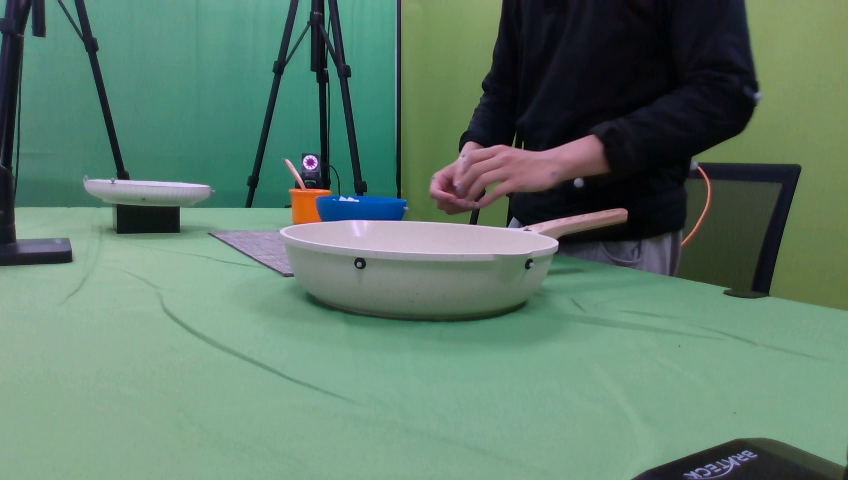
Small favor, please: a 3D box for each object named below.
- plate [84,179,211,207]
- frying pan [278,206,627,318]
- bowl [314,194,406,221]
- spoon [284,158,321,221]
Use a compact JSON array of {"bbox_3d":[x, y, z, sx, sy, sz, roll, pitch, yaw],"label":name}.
[{"bbox_3d":[-0.495,-0.085,1.093,0.208,0.039,0.207,4,7,0],"label":"plate"},{"bbox_3d":[0.079,0.002,0.705,0.490,0.102,0.305,-12,15,-33],"label":"frying pan"},{"bbox_3d":[-0.105,-0.033,0.992,0.151,0.077,0.151,2,8,0],"label":"bowl"},{"bbox_3d":[-0.269,-0.113,1.335,0.042,0.193,0.021,-4,-34,-42],"label":"spoon"}]
